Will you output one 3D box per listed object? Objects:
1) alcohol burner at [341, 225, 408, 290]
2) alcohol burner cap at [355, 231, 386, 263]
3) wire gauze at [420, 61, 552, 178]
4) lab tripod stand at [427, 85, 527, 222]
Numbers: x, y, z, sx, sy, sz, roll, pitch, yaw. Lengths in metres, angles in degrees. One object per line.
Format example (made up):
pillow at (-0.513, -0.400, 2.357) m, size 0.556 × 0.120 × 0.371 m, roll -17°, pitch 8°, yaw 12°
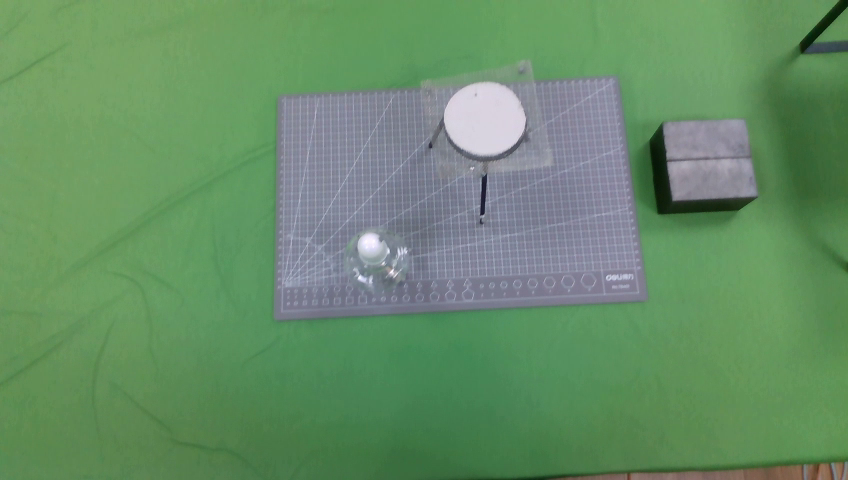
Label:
alcohol burner at (-0.058, 0.016, 0.689) m, size 0.078 × 0.119 × 0.077 m, roll 0°, pitch 74°, yaw 0°
alcohol burner cap at (-0.059, 0.006, 0.655) m, size 0.034 × 0.048 × 0.033 m, roll 0°, pitch 78°, yaw -1°
wire gauze at (0.064, -0.127, 0.644) m, size 0.125 × 0.011 × 0.121 m, roll -8°, pitch 75°, yaw -2°
lab tripod stand at (0.069, -0.112, 0.709) m, size 0.148 × 0.132 × 0.147 m, roll 0°, pitch 73°, yaw 1°
